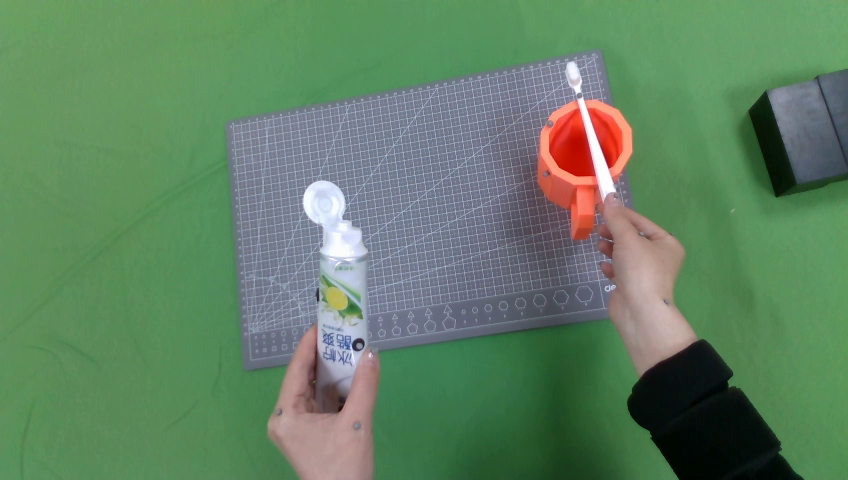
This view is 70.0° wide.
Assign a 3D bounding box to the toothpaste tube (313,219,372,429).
[{"bbox_3d":[-0.064,0.064,0.459,0.054,0.034,0.166,10,107,28],"label":"toothpaste tube"}]

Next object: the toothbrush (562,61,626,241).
[{"bbox_3d":[0.158,-0.085,0.563,0.014,0.017,0.181,-15,77,8],"label":"toothbrush"}]

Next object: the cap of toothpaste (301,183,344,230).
[{"bbox_3d":[-0.074,-0.025,0.451,0.037,0.011,0.037,5,81,-35],"label":"cap of toothpaste"}]

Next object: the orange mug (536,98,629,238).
[{"bbox_3d":[0.158,-0.068,0.615,0.083,0.101,0.125,-1,75,8],"label":"orange mug"}]
